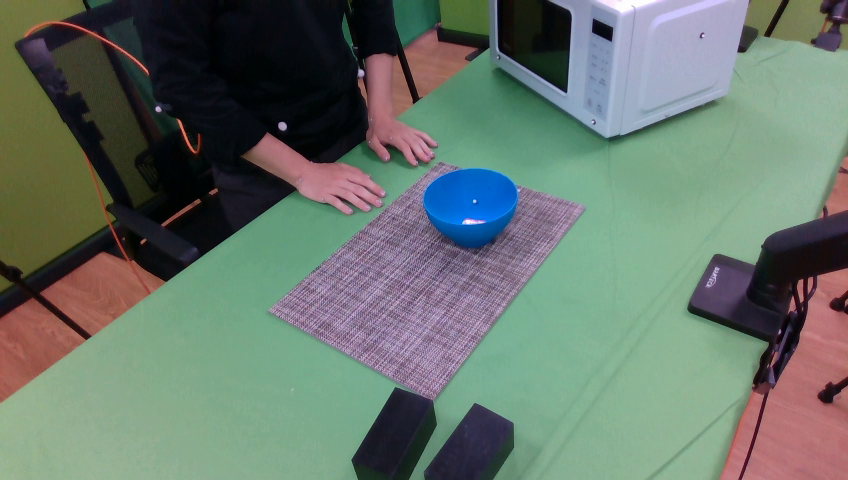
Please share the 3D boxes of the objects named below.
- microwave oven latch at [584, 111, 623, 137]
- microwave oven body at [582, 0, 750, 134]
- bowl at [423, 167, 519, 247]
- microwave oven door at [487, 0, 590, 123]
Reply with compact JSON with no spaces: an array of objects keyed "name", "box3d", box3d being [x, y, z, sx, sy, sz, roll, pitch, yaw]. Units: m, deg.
[{"name":"microwave oven latch","box3d":[0.337,-0.222,1.142,0.030,0.029,0.078,-21,42,-14]},{"name":"microwave oven body","box3d":[0.382,-0.445,1.246,0.327,0.261,0.437,-22,42,-16]},{"name":"bowl","box3d":[0.076,-0.041,0.959,0.151,0.077,0.150,-4,40,4]},{"name":"microwave oven door","box3d":[0.232,-0.420,1.231,0.039,0.245,0.352,-22,43,-16]}]
